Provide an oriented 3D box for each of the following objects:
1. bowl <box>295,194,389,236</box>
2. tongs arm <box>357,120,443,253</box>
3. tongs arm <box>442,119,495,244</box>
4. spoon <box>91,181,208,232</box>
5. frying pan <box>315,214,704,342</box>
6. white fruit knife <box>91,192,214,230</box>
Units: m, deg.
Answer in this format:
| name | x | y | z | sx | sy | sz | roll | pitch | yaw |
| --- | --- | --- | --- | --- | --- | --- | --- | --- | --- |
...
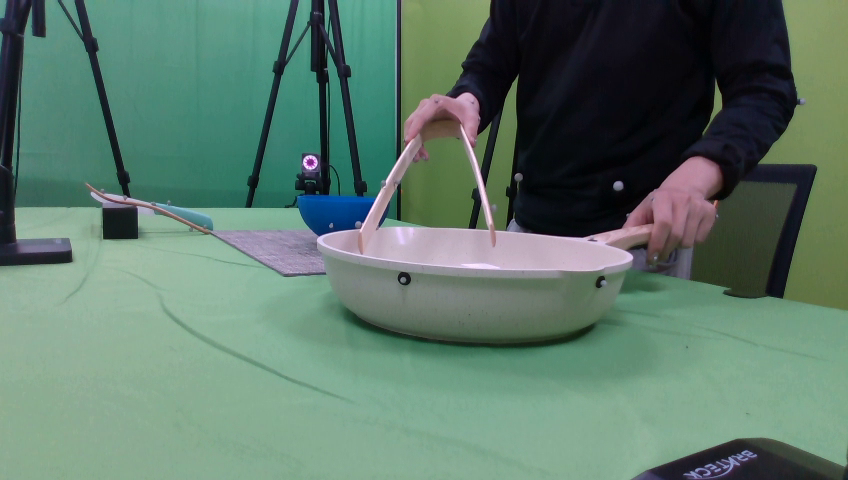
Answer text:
| name | x | y | z | sx | sy | sz | roll | pitch | yaw |
| --- | --- | --- | --- | --- | --- | --- | --- | --- | --- |
| bowl | -0.132 | -0.032 | 0.980 | 0.151 | 0.077 | 0.151 | 2 | 7 | 0 |
| tongs arm | -0.017 | -0.083 | 0.740 | 0.051 | 0.026 | 0.384 | -5 | 25 | 9 |
| tongs arm | 0.050 | -0.088 | 0.733 | 0.028 | 0.028 | 0.386 | -12 | 25 | 2 |
| spoon | -0.461 | -0.053 | 1.023 | 0.195 | 0.021 | 0.041 | 21 | 25 | -24 |
| frying pan | 0.133 | 0.014 | 0.629 | 0.490 | 0.102 | 0.305 | -11 | 14 | -29 |
| white fruit knife | -0.477 | -0.055 | 1.077 | 0.208 | 0.027 | 0.016 | 15 | -5 | -30 |
